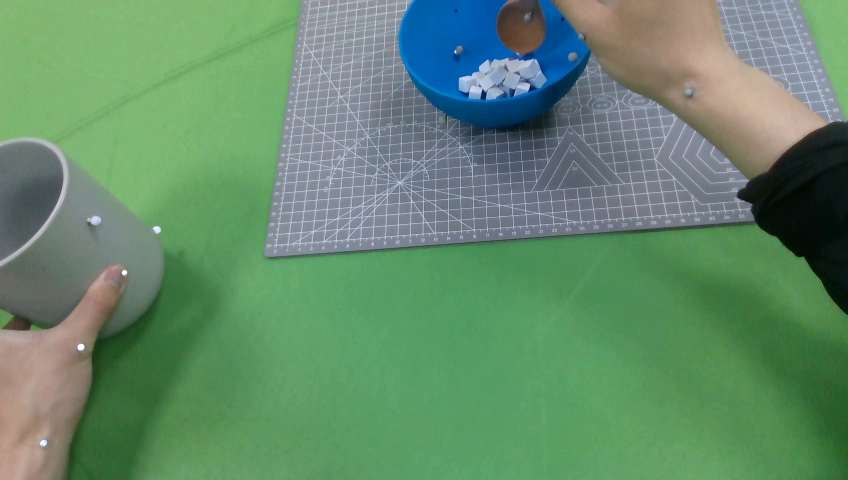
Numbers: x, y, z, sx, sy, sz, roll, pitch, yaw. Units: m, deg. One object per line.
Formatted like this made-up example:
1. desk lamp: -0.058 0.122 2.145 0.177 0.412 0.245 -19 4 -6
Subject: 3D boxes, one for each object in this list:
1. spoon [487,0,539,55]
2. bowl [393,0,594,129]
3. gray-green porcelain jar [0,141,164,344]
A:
1. spoon: 0.070 -0.168 0.398 0.041 0.194 0.021 30 87 1
2. bowl: 0.057 -0.143 0.487 0.151 0.077 0.150 -4 61 8
3. gray-green porcelain jar: -0.258 0.009 0.429 0.106 0.128 0.105 -5 60 9
